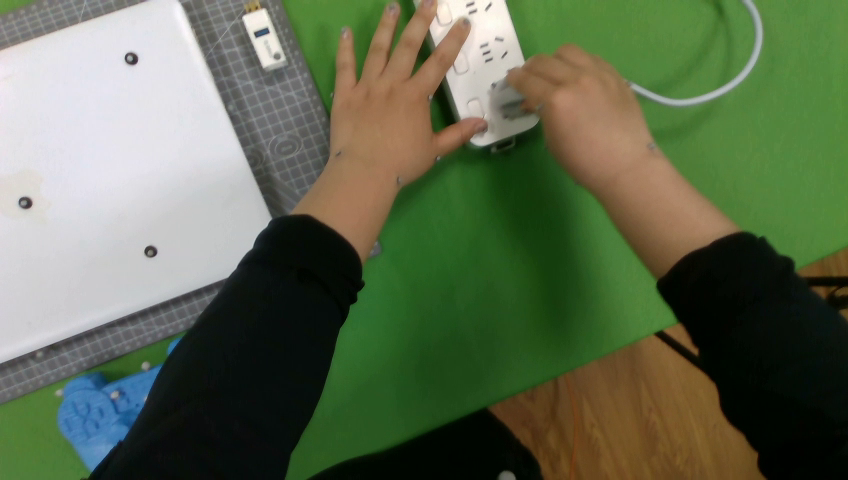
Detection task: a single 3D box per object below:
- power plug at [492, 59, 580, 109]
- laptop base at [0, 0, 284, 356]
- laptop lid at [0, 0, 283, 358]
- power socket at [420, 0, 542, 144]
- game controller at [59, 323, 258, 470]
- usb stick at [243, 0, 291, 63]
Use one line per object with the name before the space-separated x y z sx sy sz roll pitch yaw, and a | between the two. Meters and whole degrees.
power plug | 0.094 -0.132 0.526 0.073 0.052 0.035 -7 93 -20
laptop base | -0.325 -0.040 0.509 0.354 0.023 0.236 -21 102 -4
laptop lid | -0.323 -0.037 0.497 0.357 0.013 0.242 -19 101 -4
power socket | 0.039 -0.195 0.526 0.072 0.032 0.227 -20 99 -2
game controller | -0.235 0.137 0.528 0.155 0.051 0.097 -21 94 -4
usb stick | -0.134 -0.181 0.507 0.021 0.027 0.059 -22 97 0
